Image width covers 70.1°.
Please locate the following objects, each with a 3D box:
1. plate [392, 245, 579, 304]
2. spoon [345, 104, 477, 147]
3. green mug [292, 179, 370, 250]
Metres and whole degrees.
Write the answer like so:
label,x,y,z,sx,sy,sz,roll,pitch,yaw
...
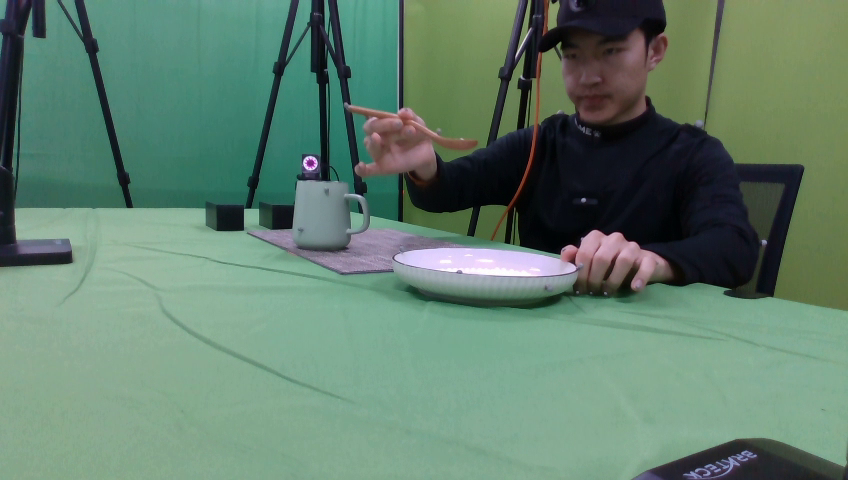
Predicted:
label,x,y,z,sx,sy,sz,roll,pitch,yaw
plate,0.066,0.038,0.683,0.209,0.038,0.209,2,7,0
spoon,-0.021,-0.151,0.784,0.193,0.021,0.042,24,10,22
green mug,-0.144,-0.040,0.944,0.125,0.105,0.093,4,7,16
